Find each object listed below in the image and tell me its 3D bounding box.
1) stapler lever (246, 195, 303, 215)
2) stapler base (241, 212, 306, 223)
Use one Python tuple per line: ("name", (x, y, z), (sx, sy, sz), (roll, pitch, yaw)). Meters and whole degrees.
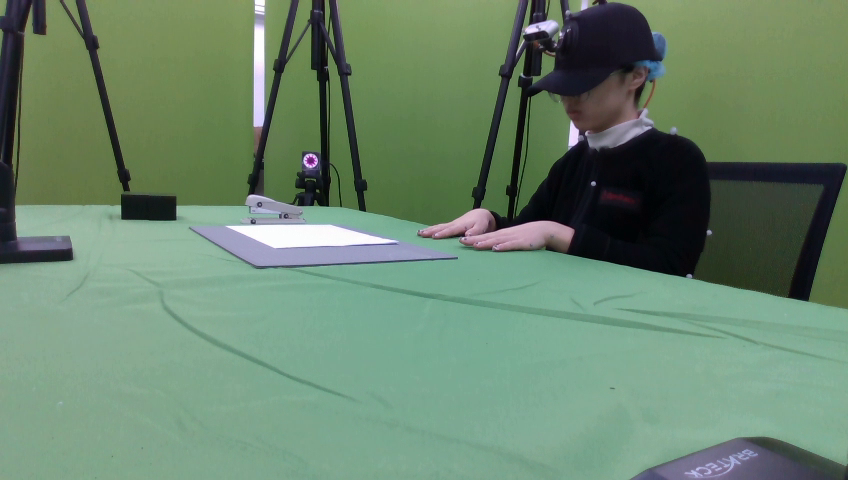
("stapler lever", (-0.313, -0.073, 1.270), (0.119, 0.040, 0.026), (0, 10, -32))
("stapler base", (-0.316, -0.048, 1.272), (0.131, 0.024, 0.041), (0, 10, -31))
